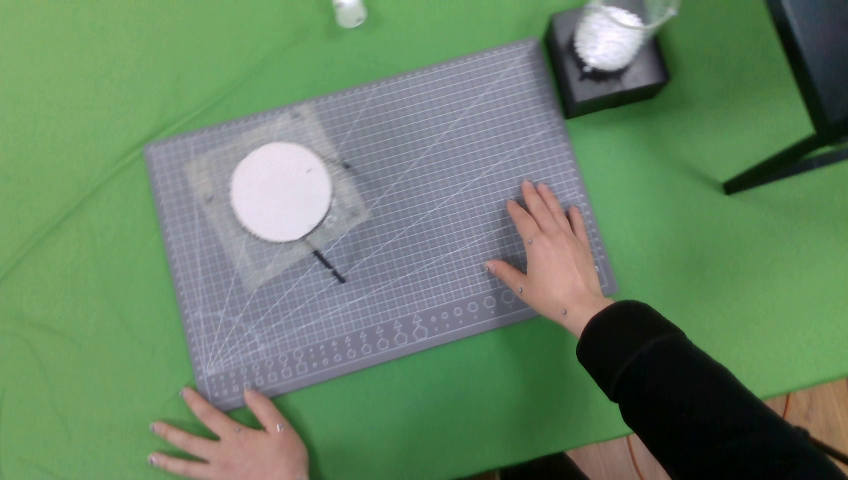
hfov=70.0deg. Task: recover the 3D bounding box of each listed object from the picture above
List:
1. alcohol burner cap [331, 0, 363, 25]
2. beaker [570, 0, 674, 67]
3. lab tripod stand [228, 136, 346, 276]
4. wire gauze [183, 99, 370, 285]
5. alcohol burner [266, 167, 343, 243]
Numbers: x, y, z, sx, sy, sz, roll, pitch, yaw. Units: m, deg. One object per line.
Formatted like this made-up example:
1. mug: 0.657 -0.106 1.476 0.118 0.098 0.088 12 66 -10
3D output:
1. alcohol burner cap: -0.086 -0.262 0.665 0.034 0.048 0.034 0 83 3
2. beaker: 0.183 -0.219 0.579 0.074 0.100 0.083 -6 81 0
3. lab tripod stand: -0.121 -0.035 0.586 0.148 0.132 0.148 0 82 -1
4. wire gauze: -0.126 -0.044 0.520 0.121 0.011 0.125 -29 85 -5
5. alcohol burner: -0.121 -0.038 0.597 0.078 0.119 0.077 0 80 2
